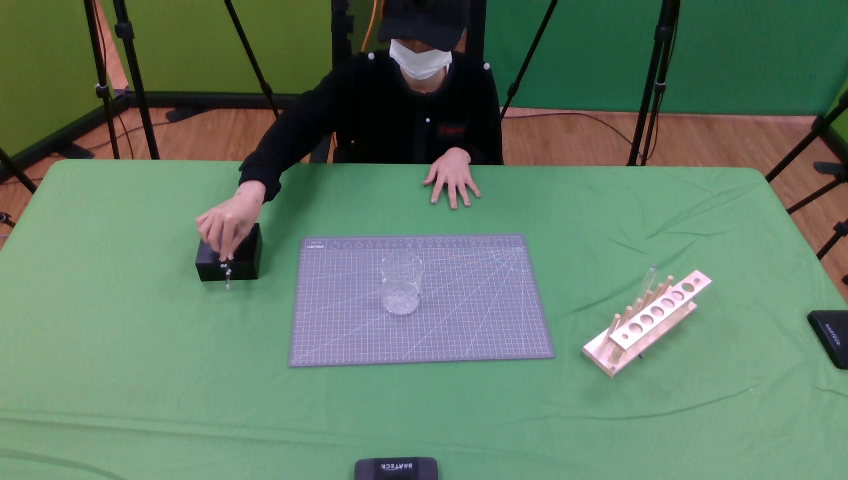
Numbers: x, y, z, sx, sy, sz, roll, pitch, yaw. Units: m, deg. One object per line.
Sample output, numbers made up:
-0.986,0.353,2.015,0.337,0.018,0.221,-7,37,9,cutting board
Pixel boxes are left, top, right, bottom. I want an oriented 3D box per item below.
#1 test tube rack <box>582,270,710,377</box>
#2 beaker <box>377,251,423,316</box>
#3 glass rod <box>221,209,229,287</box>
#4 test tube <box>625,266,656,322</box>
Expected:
0.389,0.132,1.057,0.242,0.085,0.066,-28,54,-28,test tube rack
-0.040,0.081,1.060,0.074,0.101,0.083,-33,57,-30,beaker
-0.361,0.010,1.098,0.008,0.008,0.198,-9,47,-13,glass rod
0.366,0.096,1.027,0.017,0.151,0.017,1,47,0,test tube
